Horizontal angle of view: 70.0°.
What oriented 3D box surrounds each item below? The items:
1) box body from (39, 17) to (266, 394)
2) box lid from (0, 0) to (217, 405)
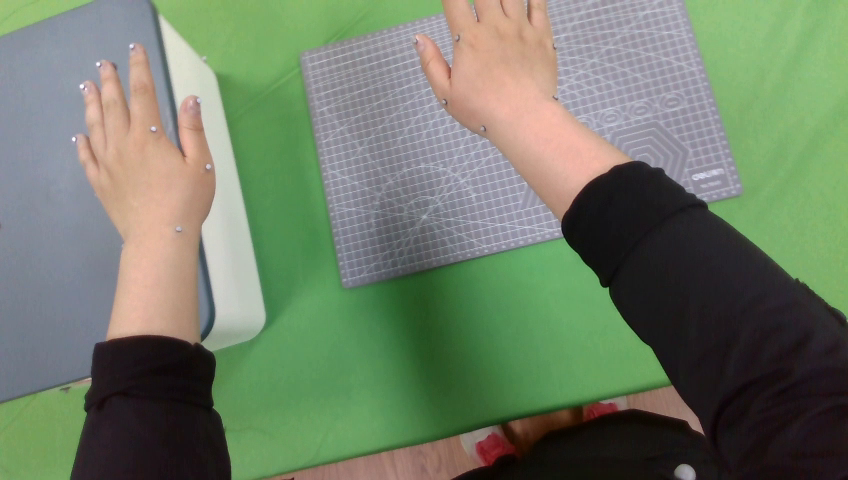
[{"bbox_3d":[-0.344,-0.033,0.665,0.254,0.161,0.362,-17,79,5],"label":"box body"},{"bbox_3d":[-0.356,-0.047,0.593,0.263,0.015,0.370,-17,80,6],"label":"box lid"}]
